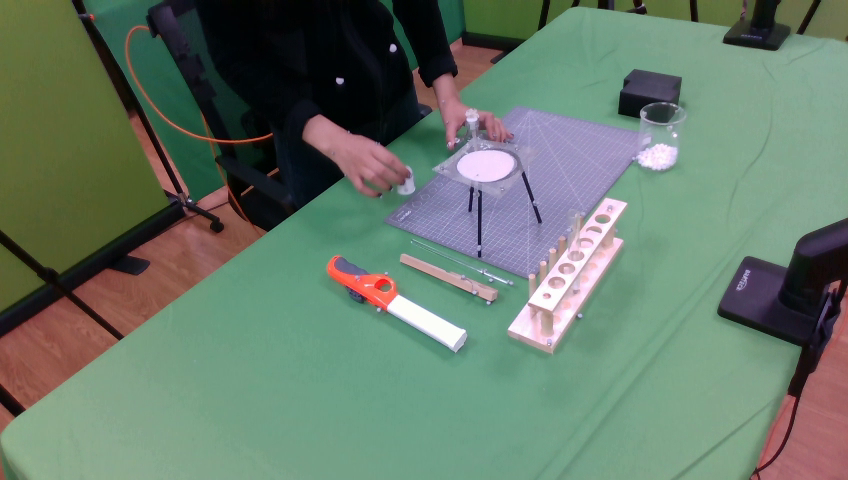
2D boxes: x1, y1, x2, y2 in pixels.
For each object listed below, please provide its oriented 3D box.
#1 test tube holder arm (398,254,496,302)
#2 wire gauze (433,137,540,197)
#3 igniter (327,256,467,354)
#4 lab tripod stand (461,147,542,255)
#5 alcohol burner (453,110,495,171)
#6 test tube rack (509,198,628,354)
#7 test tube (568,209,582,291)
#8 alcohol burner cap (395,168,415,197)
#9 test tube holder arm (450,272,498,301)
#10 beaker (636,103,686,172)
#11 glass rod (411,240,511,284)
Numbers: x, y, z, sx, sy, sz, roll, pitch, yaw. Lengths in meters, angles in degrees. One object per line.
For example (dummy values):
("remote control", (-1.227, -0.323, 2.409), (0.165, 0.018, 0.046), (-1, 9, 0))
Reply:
("test tube holder arm", (0.031, 0.055, 0.913), (0.177, 0.015, 0.013), (21, 12, 31))
("wire gauze", (0.094, -0.116, 0.907), (0.124, 0.011, 0.122), (21, 47, 30))
("igniter", (-0.051, 0.088, 0.886), (0.274, 0.025, 0.057), (27, 62, 35))
("lab tripod stand", (0.114, -0.069, 0.953), (0.148, 0.132, 0.147), (-5, 38, 4))
("alcohol burner", (0.092, -0.187, 1.112), (0.078, 0.119, 0.077), (-4, 41, 4))
("test tube rack", (0.206, 0.039, 0.850), (0.066, 0.085, 0.243), (20, 48, 31))
("test tube", (0.200, 0.017, 0.799), (0.017, 0.151, 0.017), (-8, 45, 8))
("alcohol burner cap", (-0.034, -0.099, 1.025), (0.034, 0.048, 0.033), (-3, 40, 3))
("test tube holder arm", (0.070, 0.069, 0.895), (0.087, 0.015, 0.010), (21, 12, 32))
("beaker", (0.413, -0.177, 1.055), (0.084, 0.101, 0.073), (-28, 44, -21))
("glass rod", (0.053, 0.033, 0.946), (0.198, 0.008, 0.008), (22, 50, 36))
